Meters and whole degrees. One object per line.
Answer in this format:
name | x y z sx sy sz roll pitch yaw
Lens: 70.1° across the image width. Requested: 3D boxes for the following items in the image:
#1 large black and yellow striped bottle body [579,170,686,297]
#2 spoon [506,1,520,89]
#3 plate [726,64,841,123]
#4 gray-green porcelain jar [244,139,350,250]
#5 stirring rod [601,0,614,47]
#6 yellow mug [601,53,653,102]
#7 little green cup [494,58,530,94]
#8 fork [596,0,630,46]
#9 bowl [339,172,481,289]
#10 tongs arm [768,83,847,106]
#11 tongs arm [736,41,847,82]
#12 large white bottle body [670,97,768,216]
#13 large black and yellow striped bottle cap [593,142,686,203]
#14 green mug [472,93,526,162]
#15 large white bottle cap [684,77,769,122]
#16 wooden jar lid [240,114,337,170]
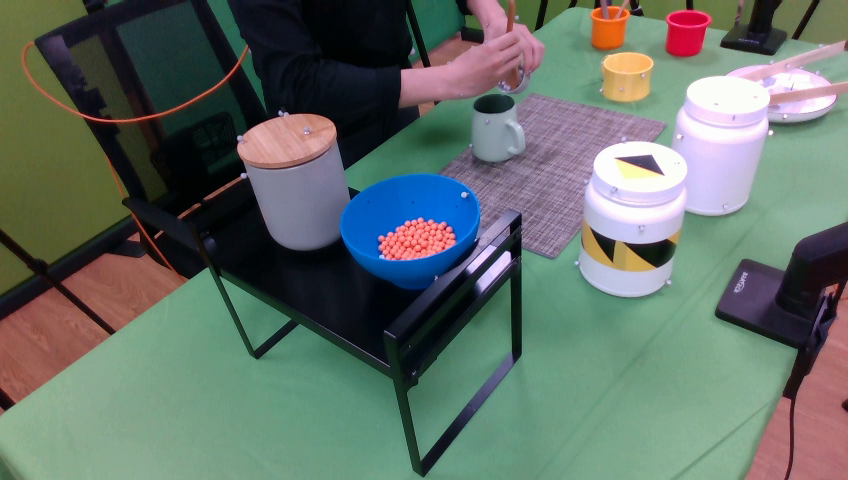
large black and yellow striped bottle body | 0.287 -0.027 0.841 0.131 0.185 0.130 -4 40 4
spoon | 0.149 -0.326 1.025 0.021 0.195 0.041 -25 64 -1
plate | 0.695 -0.282 1.189 0.207 0.039 0.206 -4 40 4
gray-green porcelain jar | -0.143 -0.060 0.714 0.106 0.127 0.105 -4 41 4
stirring rod | 0.439 -0.552 1.463 0.014 0.006 0.175 -7 83 3
yellow mug | 0.423 -0.354 1.292 0.100 0.064 0.129 -23 42 -16
little green cup | 0.163 -0.297 1.105 0.061 0.061 0.039 18 9 27
fork | 0.481 -0.556 1.452 0.028 0.019 0.207 40 103 39
bowl | -0.011 0.001 0.660 0.151 0.077 0.150 -5 41 5
tongs arm | 0.738 -0.281 1.134 0.388 0.028 0.028 -9 47 -5
tongs arm | 0.712 -0.332 1.194 0.386 0.026 0.050 -19 45 -16
large white bottle body | 0.458 -0.146 0.952 0.130 0.185 0.130 -4 40 4
large black and yellow striped bottle cap | 0.280 -0.090 0.786 0.115 0.019 0.114 -5 41 5
green mug | 0.144 -0.202 1.122 0.093 0.105 0.124 -29 45 -23
large white bottle cap | 0.448 -0.210 0.898 0.115 0.018 0.114 -4 40 4
wooden jar lid | -0.149 -0.106 0.673 0.108 0.021 0.108 -6 39 5
